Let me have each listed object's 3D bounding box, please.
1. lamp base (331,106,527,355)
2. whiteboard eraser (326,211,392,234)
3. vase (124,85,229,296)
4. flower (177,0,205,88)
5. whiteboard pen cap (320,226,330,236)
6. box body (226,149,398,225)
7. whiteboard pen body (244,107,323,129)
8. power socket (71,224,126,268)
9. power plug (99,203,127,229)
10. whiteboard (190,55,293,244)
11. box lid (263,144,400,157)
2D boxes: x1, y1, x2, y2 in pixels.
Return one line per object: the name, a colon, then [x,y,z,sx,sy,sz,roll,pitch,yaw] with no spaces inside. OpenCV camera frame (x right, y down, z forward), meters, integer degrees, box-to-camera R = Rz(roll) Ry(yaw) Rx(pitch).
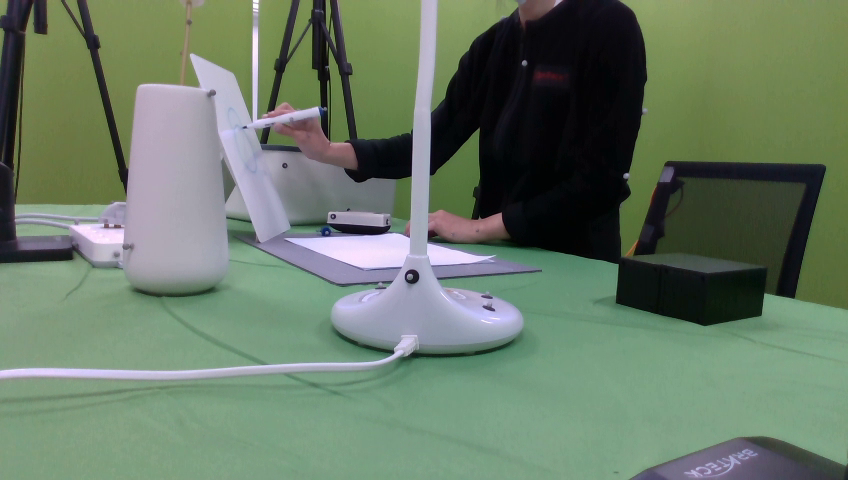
lamp base: [0.006,-0.012,0.478,0.161,0.180,0.179,2,10,2]
whiteboard eraser: [-0.121,-0.033,1.131,0.112,0.042,0.056,4,8,13]
vase: [-0.244,-0.047,0.598,0.098,0.200,0.098,3,8,0]
flower: [-0.243,-0.131,0.609,0.044,0.361,0.038,-5,-12,12]
whiteboard pen cap: [-0.176,-0.016,1.075,0.018,0.018,0.033,1,5,-13]
box body: [-0.265,-0.129,1.380,0.253,0.160,0.366,8,9,39]
whiteboard pen body: [-0.245,-0.211,1.055,0.141,0.017,0.017,-14,10,-7]
power socket: [-0.409,0.004,0.793,0.072,0.032,0.225,-2,8,-37]
power plug: [-0.415,-0.026,0.848,0.073,0.052,0.035,6,5,-28]
whiteboard: [-0.362,-0.129,1.029,0.144,0.305,0.217,-18,7,3]
box lid: [-0.263,-0.203,1.369,0.262,0.015,0.373,9,10,39]
